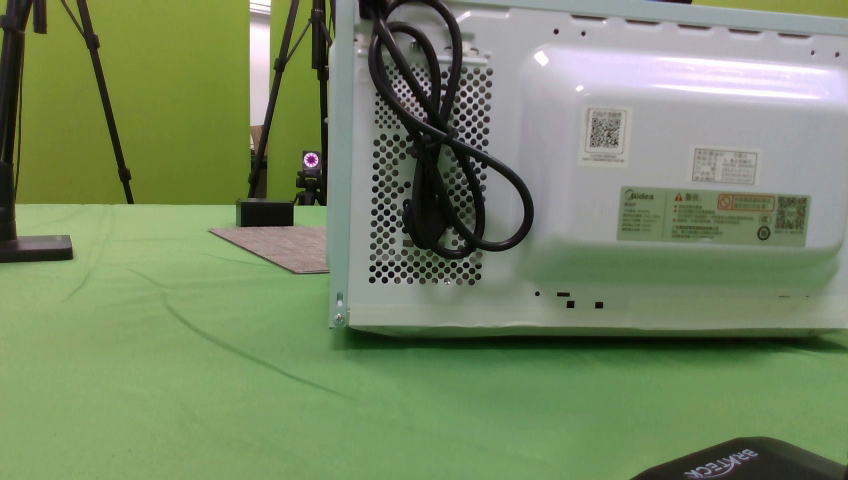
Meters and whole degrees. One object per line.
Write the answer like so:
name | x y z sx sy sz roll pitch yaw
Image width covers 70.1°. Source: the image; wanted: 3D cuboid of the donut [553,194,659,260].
donut | 0.172 -0.015 0.575 0.099 0.048 0.099 -12 13 3

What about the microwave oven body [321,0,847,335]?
microwave oven body | 0.133 -0.062 0.567 0.443 0.260 0.325 2 6 -8

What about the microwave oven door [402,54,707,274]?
microwave oven door | 0.157 -0.085 0.717 0.357 0.243 0.039 1 8 -8

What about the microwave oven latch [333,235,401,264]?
microwave oven latch | -0.065 0.011 0.700 0.079 0.029 0.030 2 7 -8

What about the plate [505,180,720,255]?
plate | 0.184 -0.024 0.615 0.209 0.038 0.209 5 15 -1
